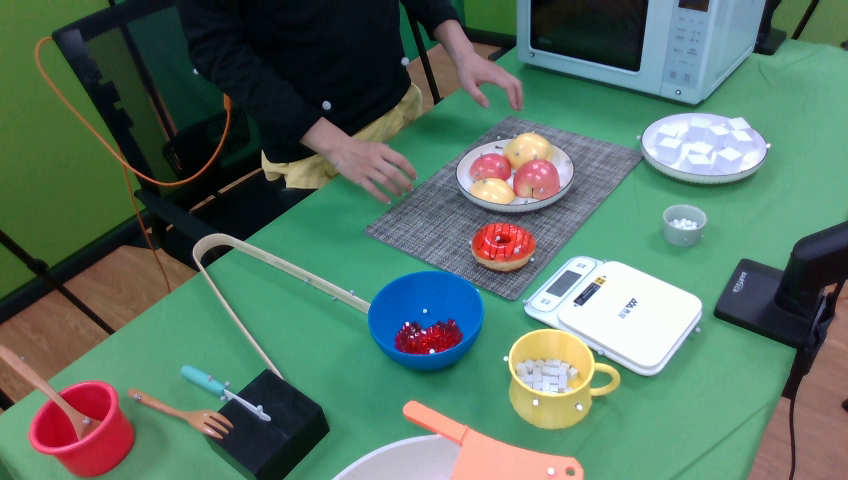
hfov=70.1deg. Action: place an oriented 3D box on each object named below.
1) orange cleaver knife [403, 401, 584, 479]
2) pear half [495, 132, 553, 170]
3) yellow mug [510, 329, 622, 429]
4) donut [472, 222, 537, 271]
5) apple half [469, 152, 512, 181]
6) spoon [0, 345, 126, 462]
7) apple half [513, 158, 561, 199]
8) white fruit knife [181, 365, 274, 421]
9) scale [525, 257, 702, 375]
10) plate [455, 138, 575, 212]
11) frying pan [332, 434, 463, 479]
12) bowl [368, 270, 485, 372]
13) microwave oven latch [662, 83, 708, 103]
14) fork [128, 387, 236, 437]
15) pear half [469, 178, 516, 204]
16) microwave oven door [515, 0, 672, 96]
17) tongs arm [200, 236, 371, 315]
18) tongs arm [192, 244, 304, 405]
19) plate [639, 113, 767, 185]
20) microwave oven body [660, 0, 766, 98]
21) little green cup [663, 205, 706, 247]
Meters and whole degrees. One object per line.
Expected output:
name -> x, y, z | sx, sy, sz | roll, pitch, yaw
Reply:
orange cleaver knife -> 0.062, 0.222, 0.609 | 0.210, 0.012, 0.077 | 15, 48, 25
pear half -> 0.175, -0.168, 1.094 | 0.109, 0.056, 0.076 | 16, 54, 29
yellow mug -> 0.168, 0.164, 0.721 | 0.130, 0.064, 0.099 | 0, 40, 8
donut -> 0.123, 0.008, 0.923 | 0.099, 0.048, 0.098 | -3, 38, 3
apple half -> 0.120, -0.139, 1.088 | 0.081, 0.033, 0.081 | 0, 44, 0
spoon -> -0.434, 0.191, 0.720 | 0.194, 0.021, 0.042 | 47, 53, -7
apple half -> 0.193, -0.111, 1.031 | 0.080, 0.053, 0.075 | 12, 41, 26
white fruit knife -> -0.245, 0.188, 0.747 | 0.205, 0.027, 0.016 | 9, 41, 41
scale -> 0.254, 0.091, 0.821 | 0.199, 0.032, 0.149 | 28, 51, 35
plate -> 0.159, -0.111, 1.063 | 0.209, 0.038, 0.208 | -4, 40, 4
frying pan -> -0.089, 0.306, 0.564 | 0.487, 0.103, 0.306 | 10, 41, 7
bowl -> 0.007, 0.118, 0.791 | 0.151, 0.077, 0.150 | -5, 40, 4
microwave oven latch -> 0.517, -0.296, 1.204 | 0.078, 0.029, 0.030 | 27, 52, 35
fork -> -0.305, 0.207, 0.744 | 0.206, 0.019, 0.028 | 3, 40, 36
pear half -> 0.115, -0.090, 1.035 | 0.087, 0.031, 0.071 | 27, 38, 31
microwave oven door -> 0.343, -0.454, 1.259 | 0.353, 0.245, 0.039 | 26, 51, 33
tongs arm -> -0.209, 0.062, 0.924 | 0.381, 0.027, 0.051 | 23, 54, 32
tongs arm -> -0.268, 0.111, 0.884 | 0.028, 0.028, 0.384 | -36, 47, -17
plate -> 0.489, -0.157, 1.074 | 0.207, 0.039, 0.206 | -4, 40, 4
microwave oven body -> 0.472, -0.513, 1.317 | 0.438, 0.261, 0.327 | 26, 51, 34
little green cup -> 0.396, -0.020, 0.926 | 0.061, 0.039, 0.061 | -4, 40, 4
